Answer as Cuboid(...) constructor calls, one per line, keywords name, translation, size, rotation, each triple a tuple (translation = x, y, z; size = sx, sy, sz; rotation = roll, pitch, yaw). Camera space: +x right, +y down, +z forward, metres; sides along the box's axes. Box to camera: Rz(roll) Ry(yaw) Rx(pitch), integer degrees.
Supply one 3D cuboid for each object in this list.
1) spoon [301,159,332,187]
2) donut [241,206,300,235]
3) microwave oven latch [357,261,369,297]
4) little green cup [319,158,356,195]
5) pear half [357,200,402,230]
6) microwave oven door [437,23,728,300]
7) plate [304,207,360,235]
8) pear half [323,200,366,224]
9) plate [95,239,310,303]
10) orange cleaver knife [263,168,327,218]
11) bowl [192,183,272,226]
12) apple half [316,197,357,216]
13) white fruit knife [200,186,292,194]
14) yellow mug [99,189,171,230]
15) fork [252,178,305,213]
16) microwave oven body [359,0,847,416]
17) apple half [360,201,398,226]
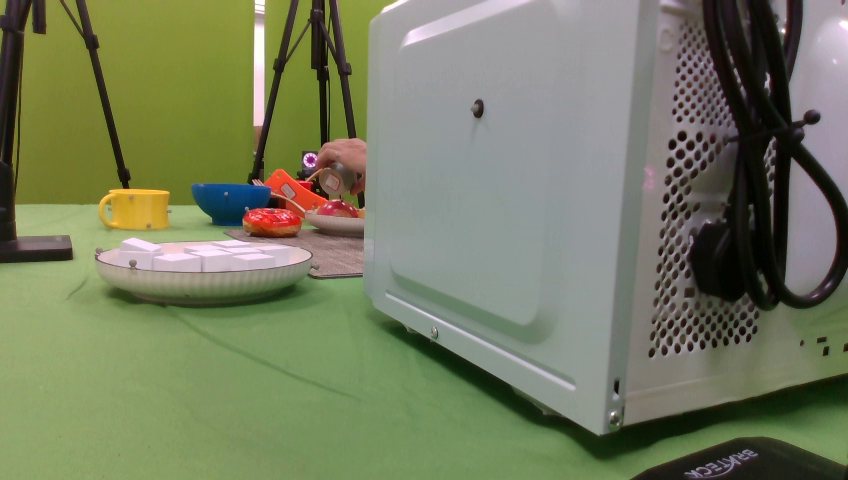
Cuboid(name="spoon", translation=(-0.316, -0.159, 1.639), size=(0.194, 0.022, 0.041), rotation=(-49, 33, -20))
Cuboid(name="donut", translation=(-0.263, -0.032, 1.039), size=(0.099, 0.048, 0.099), rotation=(4, 10, 0))
Cuboid(name="microwave oven latch", translation=(-0.019, 0.033, 0.530), size=(0.079, 0.029, 0.030), rotation=(-1, 7, -26))
Cuboid(name="little green cup", translation=(-0.157, -0.112, 1.085), size=(0.061, 0.061, 0.039), rotation=(5, 28, 23))
Cuboid(name="pear half", translation=(-0.075, -0.047, 1.133), size=(0.076, 0.056, 0.110), rotation=(13, 7, 31))
Cuboid(name="microwave oven door", translation=(0.180, -0.072, 0.621), size=(0.358, 0.243, 0.039), rotation=(-2, 9, -29))
Cuboid(name="plate", translation=(-0.123, -0.037, 1.149), size=(0.209, 0.038, 0.209), rotation=(2, 7, 0))
Cuboid(name="pear half", translation=(-0.156, -0.059, 1.197), size=(0.088, 0.031, 0.070), rotation=(14, 31, -4))
Cuboid(name="plate", translation=(-0.224, 0.031, 0.629), size=(0.208, 0.039, 0.207), rotation=(2, 7, 0))
Cuboid(name="orange cleaver knife", translation=(-0.262, -0.088, 1.353), size=(0.211, 0.077, 0.012), rotation=(28, 13, -1))
Cuboid(name="bowl", translation=(-0.381, -0.071, 1.202), size=(0.151, 0.077, 0.151), rotation=(3, 7, 0))
Cuboid(name="apple half", translation=(-0.162, -0.052, 1.121), size=(0.081, 0.053, 0.074), rotation=(4, 7, -14))
Cuboid(name="white fruit knife", translation=(-0.399, -0.111, 1.368), size=(0.208, 0.016, 0.027), rotation=(-4, -19, -30))
Cuboid(name="yellow mug", translation=(-0.519, -0.055, 1.080), size=(0.099, 0.064, 0.131), rotation=(7, 10, 26))
Cuboid(name="fork", translation=(-0.295, -0.084, 1.292), size=(0.206, 0.018, 0.028), rotation=(29, 11, 25))
Cuboid(name="microwave oven body", translation=(0.211, -0.047, 0.474), size=(0.444, 0.260, 0.324), rotation=(-1, 7, -28))
Cuboid(name="apple half", translation=(-0.087, -0.059, 1.190), size=(0.081, 0.033, 0.081), rotation=(10, 31, -5))
